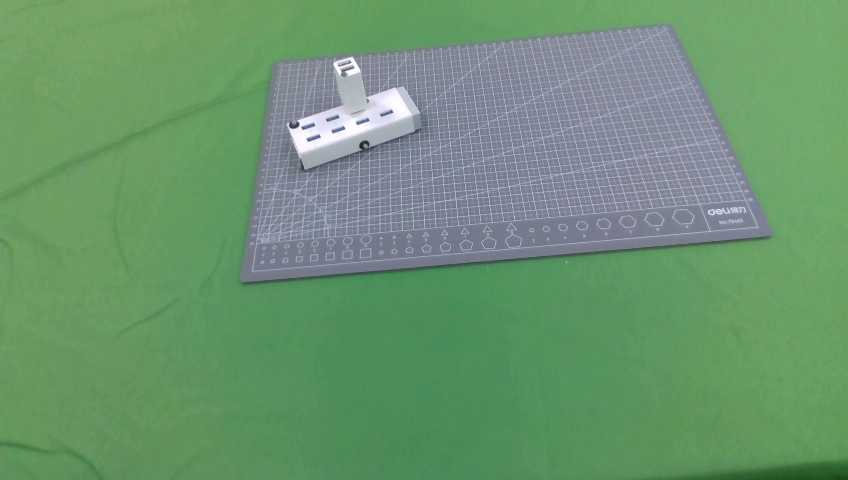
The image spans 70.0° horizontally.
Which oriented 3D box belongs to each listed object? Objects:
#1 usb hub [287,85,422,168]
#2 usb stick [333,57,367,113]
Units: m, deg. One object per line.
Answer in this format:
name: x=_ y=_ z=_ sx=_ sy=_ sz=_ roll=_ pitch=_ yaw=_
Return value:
usb hub: x=-0.069 y=-0.114 z=0.600 sx=0.125 sy=0.025 sz=0.049 roll=-21 pitch=55 yaw=-10
usb stick: x=-0.070 y=-0.144 z=0.586 sx=0.021 sy=0.060 sz=0.027 roll=-22 pitch=53 yaw=-11
